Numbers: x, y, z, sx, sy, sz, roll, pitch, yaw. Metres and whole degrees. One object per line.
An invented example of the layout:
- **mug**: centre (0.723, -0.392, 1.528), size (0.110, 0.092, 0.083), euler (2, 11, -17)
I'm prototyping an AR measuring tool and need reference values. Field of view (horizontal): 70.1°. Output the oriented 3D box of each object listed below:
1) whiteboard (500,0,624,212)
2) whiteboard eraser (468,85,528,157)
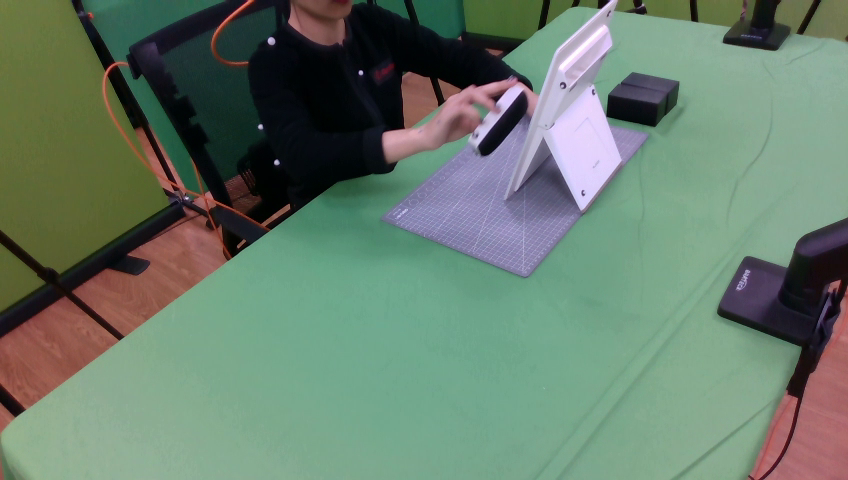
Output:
- **whiteboard**: centre (0.271, -0.189, 0.977), size (0.143, 0.306, 0.218), euler (34, 54, 16)
- **whiteboard eraser**: centre (0.116, -0.180, 0.930), size (0.041, 0.056, 0.112), euler (39, 90, 12)
